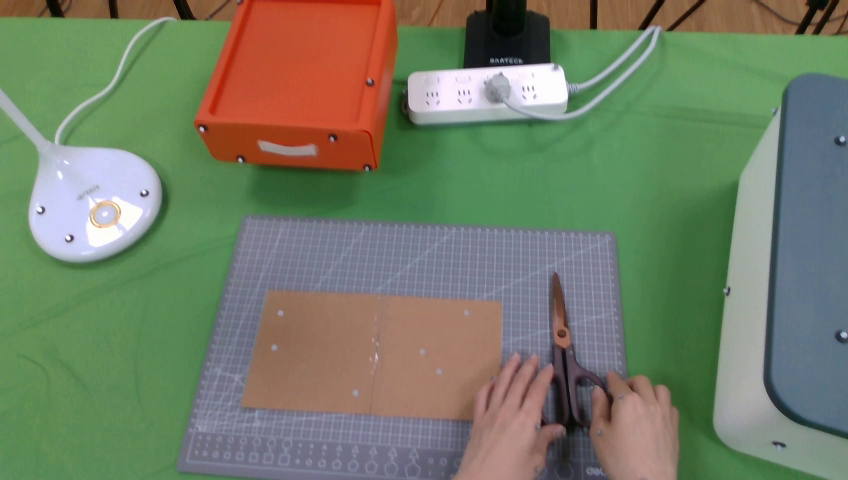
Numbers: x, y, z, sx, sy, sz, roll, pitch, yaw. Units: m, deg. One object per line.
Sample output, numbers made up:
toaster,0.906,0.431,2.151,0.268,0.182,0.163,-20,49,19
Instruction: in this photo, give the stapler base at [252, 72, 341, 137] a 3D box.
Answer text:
stapler base,-0.162,-0.172,0.748,0.129,0.024,0.041,31,83,21

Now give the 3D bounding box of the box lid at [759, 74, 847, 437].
box lid,0.434,0.013,0.518,0.262,0.015,0.369,15,62,10

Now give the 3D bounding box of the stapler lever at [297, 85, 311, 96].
stapler lever,-0.170,-0.180,0.724,0.117,0.040,0.027,31,83,22

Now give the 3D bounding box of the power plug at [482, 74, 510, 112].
power plug,0.090,-0.179,0.773,0.035,0.053,0.072,7,62,6

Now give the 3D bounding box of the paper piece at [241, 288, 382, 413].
paper piece,-0.119,0.115,0.657,0.136,0.009,0.137,2,62,7

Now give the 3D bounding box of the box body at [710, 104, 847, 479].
box body,0.438,0.048,0.583,0.253,0.162,0.362,15,63,11

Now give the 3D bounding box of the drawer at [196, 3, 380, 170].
drawer,-0.145,-0.192,0.738,0.194,0.074,0.210,4,60,5

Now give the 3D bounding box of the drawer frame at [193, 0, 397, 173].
drawer frame,-0.146,-0.194,0.739,0.201,0.083,0.212,4,60,5

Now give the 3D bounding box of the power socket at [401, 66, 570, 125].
power socket,0.081,-0.193,0.807,0.227,0.033,0.071,-2,62,1

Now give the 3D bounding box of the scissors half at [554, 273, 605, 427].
scissors half,0.158,0.110,0.641,0.040,0.013,0.173,-25,51,24

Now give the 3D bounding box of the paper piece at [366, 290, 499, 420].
paper piece,0.012,0.120,0.648,0.135,0.004,0.134,4,61,5

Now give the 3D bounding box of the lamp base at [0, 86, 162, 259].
lamp base,-0.420,-0.091,0.688,0.178,0.182,0.160,33,67,22

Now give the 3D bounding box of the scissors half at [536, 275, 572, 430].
scissors half,0.142,0.115,0.652,0.040,0.013,0.174,-14,56,38
